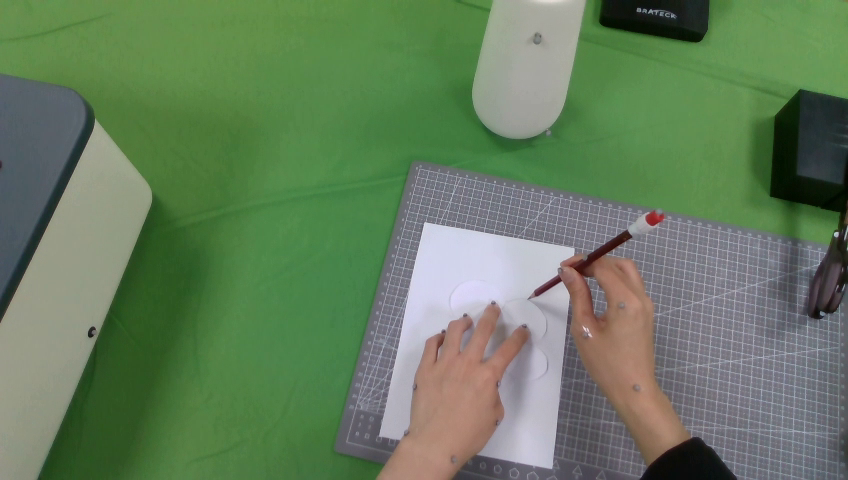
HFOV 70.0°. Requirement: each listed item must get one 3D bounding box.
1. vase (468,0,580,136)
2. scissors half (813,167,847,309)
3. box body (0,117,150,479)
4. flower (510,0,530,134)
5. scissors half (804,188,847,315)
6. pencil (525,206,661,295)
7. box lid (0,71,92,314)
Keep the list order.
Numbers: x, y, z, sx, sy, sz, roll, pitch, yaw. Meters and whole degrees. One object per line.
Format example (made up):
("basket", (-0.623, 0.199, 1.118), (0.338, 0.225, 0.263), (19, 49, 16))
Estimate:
("vase", (0.094, -0.184, 0.571), (0.098, 0.201, 0.097), (0, 69, 1))
("scissors half", (0.385, -0.018, 0.557), (0.013, 0.040, 0.174), (17, 71, 16))
("box body", (-0.427, 0.048, 0.506), (0.254, 0.161, 0.362), (12, 71, 4))
("flower", (0.089, -0.226, 0.498), (0.044, 0.365, 0.038), (5, 52, 6))
("scissors half", (0.390, -0.013, 0.576), (0.012, 0.040, 0.175), (17, 89, 21))
("pencil", (0.130, 0.017, 0.503), (0.012, 0.194, 0.012), (8, 66, -17))
("box lid", (-0.427, 0.020, 0.436), (0.263, 0.015, 0.369), (12, 70, 4))
